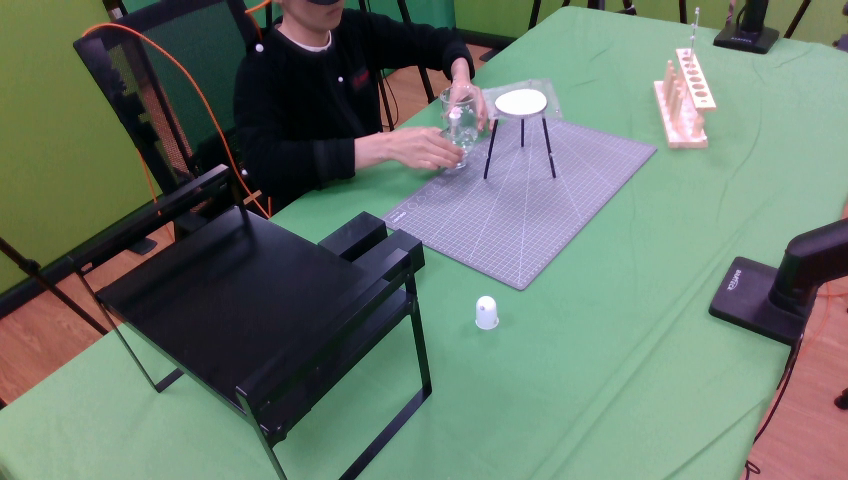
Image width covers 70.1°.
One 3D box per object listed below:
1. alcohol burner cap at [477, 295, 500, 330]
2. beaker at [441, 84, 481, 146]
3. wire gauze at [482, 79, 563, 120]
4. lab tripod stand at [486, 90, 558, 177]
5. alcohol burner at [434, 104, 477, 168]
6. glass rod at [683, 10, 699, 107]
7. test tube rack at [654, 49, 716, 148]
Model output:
[{"bbox_3d":[0.089,0.098,0.833,0.034,0.048,0.033,-4,41,4],"label":"alcohol burner cap"},{"bbox_3d":[0.077,-0.245,1.190,0.073,0.101,0.084,25,50,32],"label":"beaker"},{"bbox_3d":[0.166,-0.239,1.035,0.125,0.011,0.121,-5,42,3],"label":"wire gauze"},{"bbox_3d":[0.173,-0.185,1.075,0.148,0.132,0.147,-5,43,5],"label":"lab tripod stand"},{"bbox_3d":[0.058,-0.192,1.099,0.078,0.119,0.077,0,42,0],"label":"alcohol burner"},{"bbox_3d":[0.501,-0.335,1.138,0.008,0.201,0.008,-7,45,7],"label":"glass rod"},{"bbox_3d":[0.502,-0.281,1.176,0.066,0.085,0.241,2,41,11],"label":"test tube rack"}]
